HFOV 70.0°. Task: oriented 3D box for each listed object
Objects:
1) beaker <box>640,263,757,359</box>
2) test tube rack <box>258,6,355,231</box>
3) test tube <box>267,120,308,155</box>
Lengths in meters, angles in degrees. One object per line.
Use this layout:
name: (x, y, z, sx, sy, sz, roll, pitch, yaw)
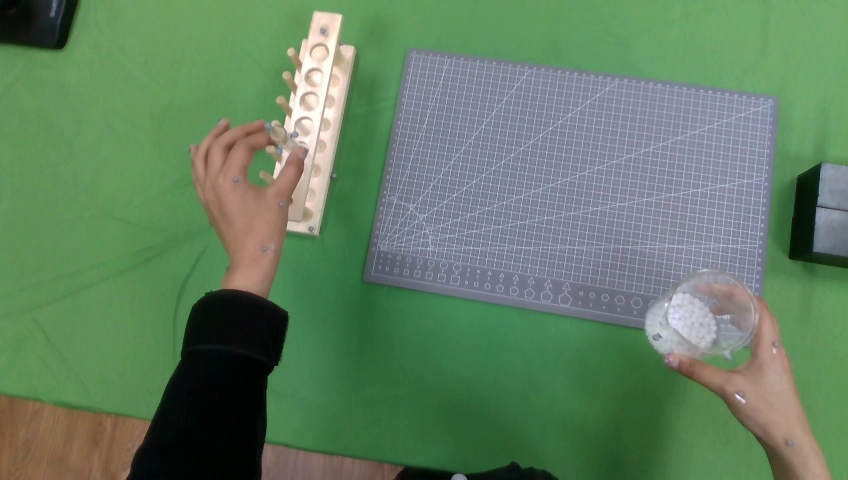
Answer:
beaker: (0.245, 0.071, 0.561, 0.084, 0.101, 0.073, -13, 72, 1)
test tube rack: (-0.143, -0.140, 0.706, 0.066, 0.085, 0.241, 10, 81, 5)
test tube: (-0.131, -0.098, 0.600, 0.017, 0.150, 0.017, 0, 91, -2)
